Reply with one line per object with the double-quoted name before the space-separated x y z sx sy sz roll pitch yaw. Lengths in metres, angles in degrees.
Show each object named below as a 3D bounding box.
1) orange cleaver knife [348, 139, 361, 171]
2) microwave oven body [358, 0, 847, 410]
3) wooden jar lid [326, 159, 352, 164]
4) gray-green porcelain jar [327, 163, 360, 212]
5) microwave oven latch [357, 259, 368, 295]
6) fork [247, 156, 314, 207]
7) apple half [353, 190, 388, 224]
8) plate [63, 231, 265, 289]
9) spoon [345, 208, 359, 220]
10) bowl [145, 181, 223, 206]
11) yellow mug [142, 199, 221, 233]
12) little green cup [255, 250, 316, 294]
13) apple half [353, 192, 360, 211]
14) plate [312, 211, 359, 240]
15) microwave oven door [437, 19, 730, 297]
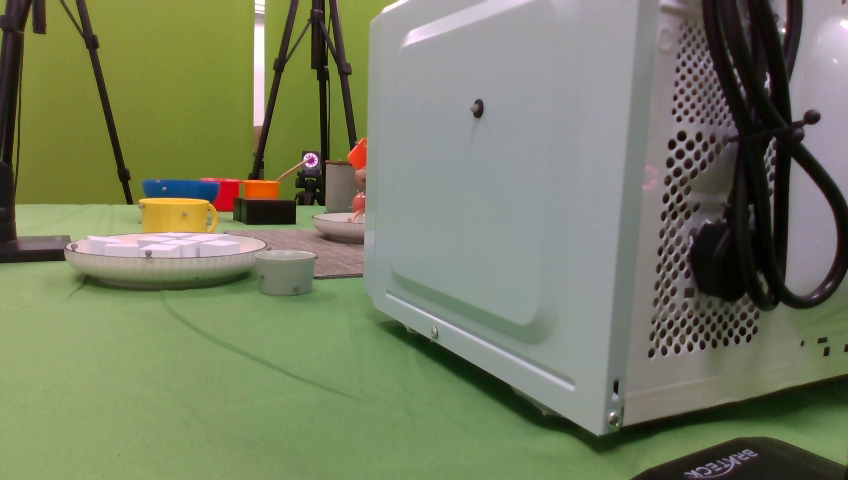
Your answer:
"orange cleaver knife" -0.076 -0.143 1.295 0.212 0.077 0.012 34 -19 -37
"microwave oven body" 0.210 -0.051 0.471 0.444 0.260 0.324 -1 7 -28
"wooden jar lid" -0.185 -0.187 1.481 0.108 0.020 0.108 4 6 0
"gray-green porcelain jar" -0.187 -0.125 1.490 0.106 0.126 0.106 2 8 0
"microwave oven latch" -0.019 0.031 0.529 0.079 0.029 0.030 -1 7 -26
"fork" -0.360 -0.147 1.523 0.207 0.018 0.028 -43 15 -7
"apple half" -0.119 -0.073 1.297 0.081 0.081 0.032 -1 16 -22
"plate" -0.288 0.021 0.687 0.208 0.039 0.207 2 8 0
"spoon" -0.123 -0.047 1.117 0.041 0.021 0.194 -8 16 18
"bowl" -0.499 -0.081 1.261 0.151 0.077 0.151 2 7 0
"yellow mug" -0.373 -0.030 0.948 0.099 0.064 0.131 6 7 30
"little green cup" -0.144 0.032 0.627 0.061 0.038 0.061 3 6 0
"apple half" -0.104 -0.065 1.260 0.081 0.074 0.053 3 9 -21
"plate" -0.091 -0.026 1.063 0.209 0.038 0.209 2 7 0
"microwave oven door" 0.180 -0.076 0.618 0.358 0.243 0.039 -2 9 -28
